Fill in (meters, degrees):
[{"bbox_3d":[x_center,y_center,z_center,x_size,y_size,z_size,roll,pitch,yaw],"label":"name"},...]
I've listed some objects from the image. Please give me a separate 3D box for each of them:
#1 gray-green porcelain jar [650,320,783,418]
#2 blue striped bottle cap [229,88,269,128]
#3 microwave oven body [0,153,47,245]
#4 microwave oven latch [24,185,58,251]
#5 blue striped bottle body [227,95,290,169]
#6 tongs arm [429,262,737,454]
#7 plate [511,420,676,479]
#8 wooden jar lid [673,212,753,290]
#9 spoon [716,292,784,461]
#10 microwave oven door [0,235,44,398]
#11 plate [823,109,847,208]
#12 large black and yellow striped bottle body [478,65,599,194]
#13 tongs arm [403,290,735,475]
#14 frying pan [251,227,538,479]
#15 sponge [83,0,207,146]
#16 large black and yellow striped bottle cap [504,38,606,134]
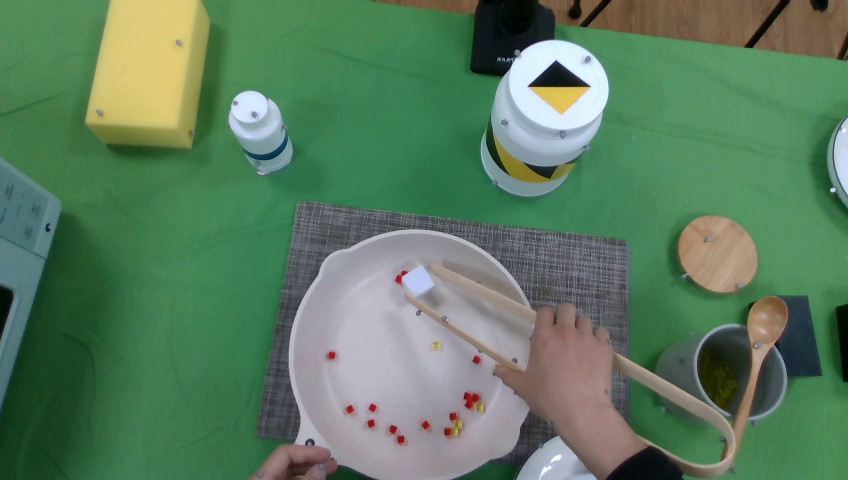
[{"bbox_3d":[0.336,0.156,0.718,0.106,0.127,0.105,1,73,-3],"label":"gray-green porcelain jar"},{"bbox_3d":[-0.209,-0.159,0.726,0.044,0.021,0.044,1,75,-3],"label":"blue striped bottle cap"},{"bbox_3d":[-0.641,0.092,0.601,0.326,0.261,0.439,7,74,-2],"label":"microwave oven body"},{"bbox_3d":[-0.479,-0.029,0.748,0.030,0.029,0.078,10,74,-1],"label":"microwave oven latch"},{"bbox_3d":[-0.212,-0.143,0.775,0.063,0.121,0.062,1,73,-3],"label":"blue striped bottle body"},{"bbox_3d":[0.145,0.108,0.650,0.384,0.028,0.028,28,57,36],"label":"tongs arm"},{"bbox_3d":[0.196,0.317,0.707,0.208,0.039,0.206,1,75,-3],"label":"plate"},{"bbox_3d":[0.388,0.015,0.819,0.108,0.021,0.108,1,75,-3],"label":"wooden jar lid"},{"bbox_3d":[0.344,0.147,0.649,0.041,0.022,0.193,22,77,2],"label":"spoon"},{"bbox_3d":[-0.501,0.149,0.588,0.039,0.245,0.353,7,73,-1],"label":"microwave oven door"},{"bbox_3d":[0.666,-0.102,0.861,0.209,0.038,0.208,1,73,-3],"label":"plate"},{"bbox_3d":[0.143,-0.150,0.767,0.131,0.185,0.130,1,73,-3],"label":"large black and yellow striped bottle body"},{"bbox_3d":[0.124,0.129,0.637,0.381,0.027,0.050,30,61,37],"label":"tongs arm"},{"bbox_3d":[-0.088,0.192,0.689,0.487,0.103,0.305,-39,78,-22],"label":"frying pan"},{"bbox_3d":[-0.374,-0.237,0.823,0.118,0.061,0.205,2,74,-3],"label":"sponge"},{"bbox_3d":[0.148,-0.176,0.687,0.115,0.019,0.114,1,75,-3],"label":"large black and yellow striped bottle cap"}]
